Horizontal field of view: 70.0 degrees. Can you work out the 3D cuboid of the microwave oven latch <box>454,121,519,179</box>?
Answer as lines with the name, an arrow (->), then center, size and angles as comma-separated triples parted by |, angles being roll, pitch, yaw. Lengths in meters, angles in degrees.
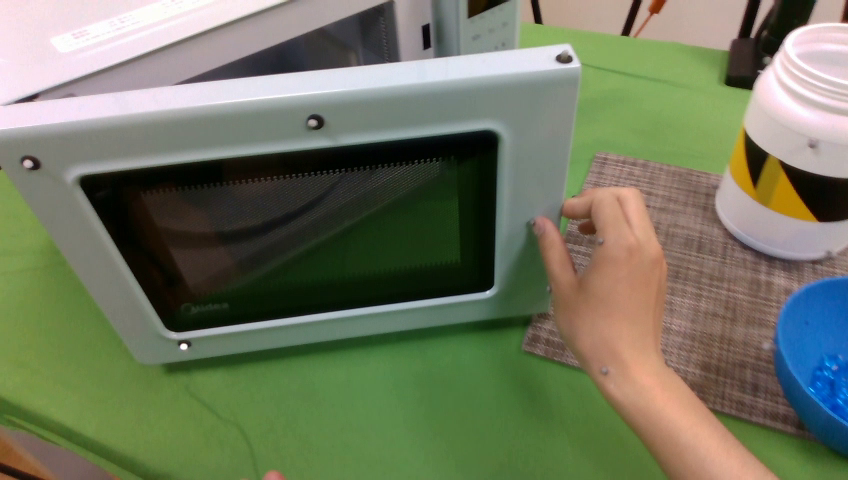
microwave oven latch -> 0.069, -0.099, 0.673 | 0.079, 0.030, 0.030 | -31, 51, -23

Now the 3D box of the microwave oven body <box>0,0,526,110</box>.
microwave oven body -> -0.167, -0.160, 0.614 | 0.442, 0.263, 0.322 | -32, 52, -24

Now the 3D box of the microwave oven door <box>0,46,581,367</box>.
microwave oven door -> -0.073, -0.009, 0.448 | 0.356, 0.246, 0.039 | -7, 45, -3

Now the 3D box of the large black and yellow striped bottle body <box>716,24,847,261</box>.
large black and yellow striped bottle body -> 0.359, -0.086, 0.552 | 0.131, 0.186, 0.129 | -2, 45, 2

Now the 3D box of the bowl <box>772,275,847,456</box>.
bowl -> 0.324, 0.106, 0.438 | 0.151, 0.077, 0.150 | -2, 45, 3
